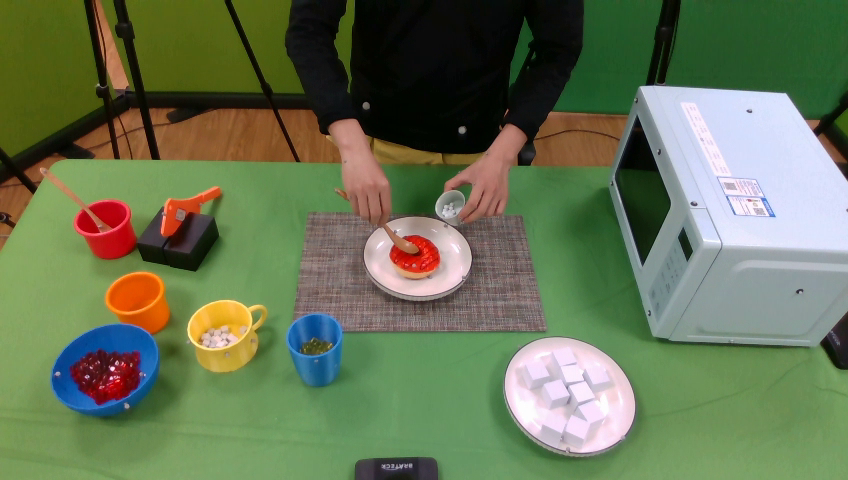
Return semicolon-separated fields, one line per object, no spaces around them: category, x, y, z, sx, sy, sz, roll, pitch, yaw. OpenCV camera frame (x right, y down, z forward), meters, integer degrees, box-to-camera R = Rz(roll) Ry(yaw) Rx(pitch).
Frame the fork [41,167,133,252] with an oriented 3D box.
fork;-0.624;-0.056;1.121;0.208;0.018;0.028;49;51;-15

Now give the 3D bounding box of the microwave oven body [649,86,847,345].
microwave oven body;0.568;-0.053;1.118;0.326;0.261;0.439;2;45;-1

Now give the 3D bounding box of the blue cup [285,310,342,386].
blue cup;-0.170;0.179;0.958;0.093;0.101;0.092;2;44;-1

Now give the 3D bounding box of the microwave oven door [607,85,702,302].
microwave oven door;0.423;-0.094;1.141;0.039;0.245;0.353;2;46;-1

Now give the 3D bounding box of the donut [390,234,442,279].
donut;-0.016;0.031;1.135;0.099;0.048;0.098;4;44;-4

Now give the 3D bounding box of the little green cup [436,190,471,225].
little green cup;0.057;-0.059;1.136;0.061;0.039;0.061;-9;69;24

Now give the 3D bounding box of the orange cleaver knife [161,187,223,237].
orange cleaver knife;-0.448;-0.058;1.181;0.012;0.077;0.211;13;17;6

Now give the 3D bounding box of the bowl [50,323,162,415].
bowl;-0.472;0.209;0.924;0.151;0.077;0.150;3;45;-2

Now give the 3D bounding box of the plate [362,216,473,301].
plate;-0.012;0.038;1.144;0.209;0.038;0.208;2;45;-2

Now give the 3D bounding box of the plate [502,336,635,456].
plate;0.225;0.248;0.963;0.208;0.039;0.206;2;46;-2

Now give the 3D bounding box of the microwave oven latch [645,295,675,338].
microwave oven latch;0.412;0.134;1.061;0.030;0.029;0.078;3;45;0

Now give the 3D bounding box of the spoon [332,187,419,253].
spoon;-0.083;-0.035;1.066;0.194;0.021;0.041;42;19;-23

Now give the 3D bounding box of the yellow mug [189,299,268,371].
yellow mug;-0.316;0.148;1.002;0.131;0.064;0.099;-32;56;-31
